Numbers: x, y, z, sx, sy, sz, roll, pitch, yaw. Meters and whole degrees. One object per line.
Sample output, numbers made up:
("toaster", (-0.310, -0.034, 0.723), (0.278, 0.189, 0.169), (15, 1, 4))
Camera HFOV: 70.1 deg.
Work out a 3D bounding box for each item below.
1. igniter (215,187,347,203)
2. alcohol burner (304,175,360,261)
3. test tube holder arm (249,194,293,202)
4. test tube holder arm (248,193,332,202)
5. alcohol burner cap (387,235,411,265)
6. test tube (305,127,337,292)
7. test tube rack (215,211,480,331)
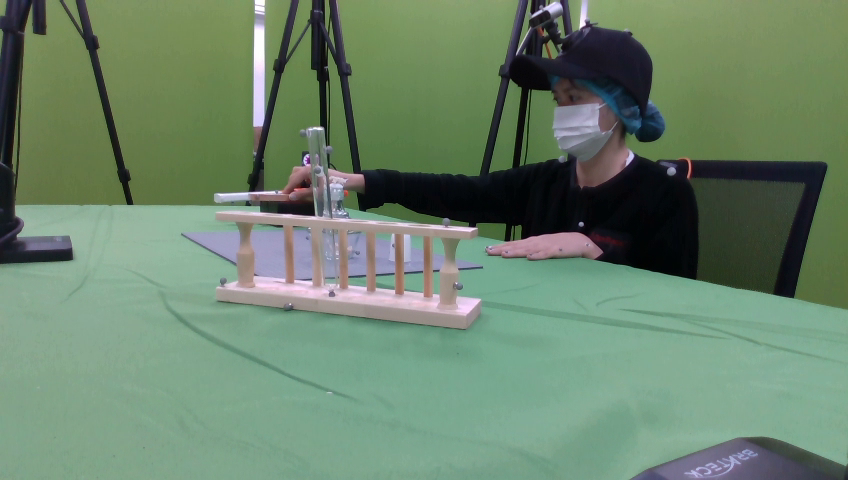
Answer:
("igniter", (-0.293, -0.094, 1.267), (0.278, 0.025, 0.057), (-6, 11, -33))
("alcohol burner", (-0.126, -0.031, 0.838), (0.078, 0.119, 0.078), (3, 5, 0))
("test tube holder arm", (-0.302, -0.083, 1.198), (0.088, 0.015, 0.010), (-1, 20, -36))
("test tube holder arm", (-0.269, -0.086, 1.230), (0.179, 0.015, 0.013), (-2, 20, -38))
("alcohol burner cap", (-0.035, 0.009, 0.839), (0.034, 0.048, 0.034), (2, 6, 0))
("test tube", (-0.092, -0.026, 0.546), (0.017, 0.150, 0.017), (-4, 8, 1))
("test tube rack", (-0.071, 0.023, 0.565), (0.242, 0.085, 0.067), (5, 7, 16))
